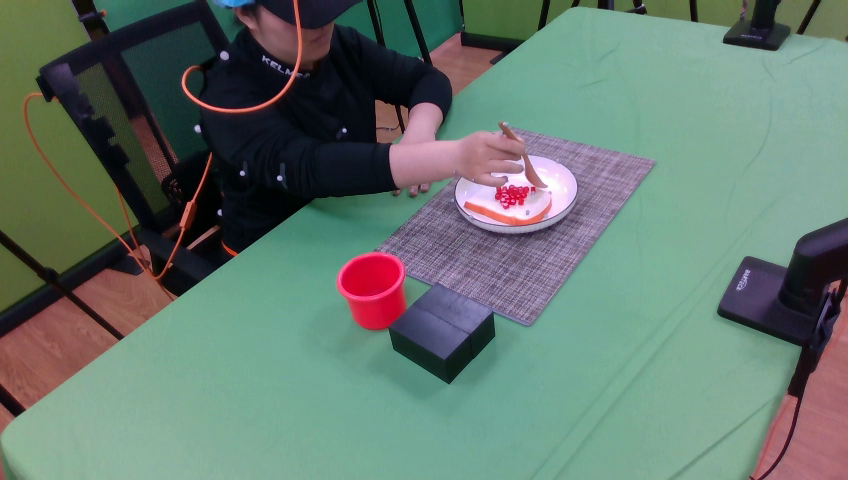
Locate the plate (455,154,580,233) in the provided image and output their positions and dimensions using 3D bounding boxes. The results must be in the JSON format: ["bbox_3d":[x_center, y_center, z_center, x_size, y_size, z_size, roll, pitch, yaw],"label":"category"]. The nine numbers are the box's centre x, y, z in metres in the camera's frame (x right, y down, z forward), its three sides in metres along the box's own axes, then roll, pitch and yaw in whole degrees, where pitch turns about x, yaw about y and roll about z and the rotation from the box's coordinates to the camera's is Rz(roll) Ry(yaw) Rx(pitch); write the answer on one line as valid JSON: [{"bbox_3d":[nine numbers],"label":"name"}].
[{"bbox_3d":[0.159,-0.076,1.028,0.209,0.038,0.208,-5,40,5],"label":"plate"}]

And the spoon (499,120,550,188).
[{"bbox_3d":[0.156,-0.132,0.944,0.021,0.195,0.041,-50,51,-5],"label":"spoon"}]

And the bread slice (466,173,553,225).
[{"bbox_3d":[0.152,-0.068,1.022,0.130,0.019,0.105,23,50,33],"label":"bread slice"}]
